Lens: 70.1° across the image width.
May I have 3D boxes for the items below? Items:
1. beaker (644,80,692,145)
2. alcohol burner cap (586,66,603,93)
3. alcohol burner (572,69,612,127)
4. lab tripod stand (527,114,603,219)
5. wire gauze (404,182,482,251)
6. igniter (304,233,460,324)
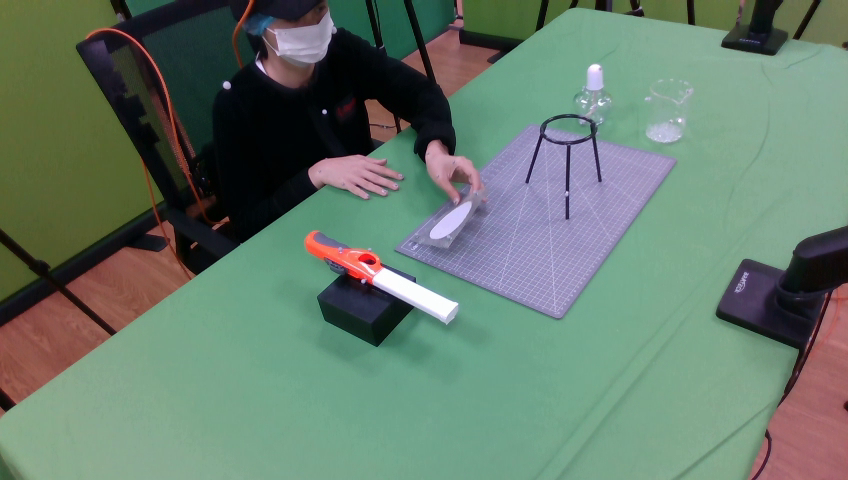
[{"bbox_3d":[0.451,-0.233,1.122,0.074,0.101,0.083,-8,40,1],"label":"beaker"},{"bbox_3d":[0.330,-0.312,1.170,0.034,0.048,0.033,-8,38,7],"label":"alcohol burner cap"},{"bbox_3d":[0.333,-0.284,1.192,0.078,0.119,0.077,-4,42,4],"label":"alcohol burner"},{"bbox_3d":[0.234,-0.129,1.002,0.148,0.132,0.147,-6,40,6],"label":"lab tripod stand"},{"bbox_3d":[0.026,-0.039,0.953,0.120,0.011,0.125,-15,39,46],"label":"wire gauze"},{"bbox_3d":[-0.070,0.048,0.853,0.274,0.025,0.057,24,47,29],"label":"igniter"}]
